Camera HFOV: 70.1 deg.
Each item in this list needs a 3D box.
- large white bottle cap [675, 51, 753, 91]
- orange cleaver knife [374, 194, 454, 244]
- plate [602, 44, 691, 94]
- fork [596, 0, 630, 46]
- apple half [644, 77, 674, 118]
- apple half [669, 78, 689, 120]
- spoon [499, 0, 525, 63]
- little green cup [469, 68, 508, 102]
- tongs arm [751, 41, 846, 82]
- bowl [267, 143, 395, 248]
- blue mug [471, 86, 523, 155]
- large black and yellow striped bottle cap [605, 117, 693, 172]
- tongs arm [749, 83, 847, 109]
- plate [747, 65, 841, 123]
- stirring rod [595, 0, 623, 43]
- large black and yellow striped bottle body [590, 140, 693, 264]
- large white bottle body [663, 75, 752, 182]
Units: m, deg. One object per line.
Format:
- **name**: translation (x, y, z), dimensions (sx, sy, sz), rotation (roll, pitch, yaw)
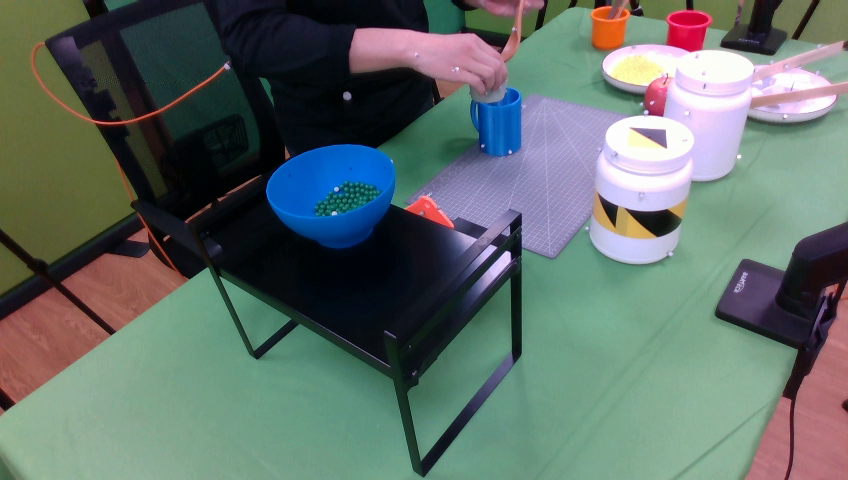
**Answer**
- **large white bottle cap**: translation (0.463, -0.271, 0.967), dimensions (0.115, 0.018, 0.114), rotation (-4, 40, 4)
- **orange cleaver knife**: translation (-0.032, -0.026, 0.965), dimensions (0.210, 0.077, 0.012), rotation (-10, 29, 51)
- **plate**: translation (0.495, -0.367, 1.317), dimensions (0.209, 0.038, 0.208), rotation (-4, 40, 4)
- **fork**: translation (0.481, -0.556, 1.452), dimensions (0.028, 0.019, 0.207), rotation (40, 103, 40)
- **apple half**: translation (0.463, -0.279, 1.194), dimensions (0.053, 0.075, 0.081), rotation (8, 46, 25)
- **apple half**: translation (0.498, -0.273, 1.180), dimensions (0.032, 0.082, 0.081), rotation (7, 42, 25)
- **spoon**: translation (0.160, -0.381, 0.982), dimensions (0.022, 0.193, 0.041), rotation (13, 9, -20)
- **little green cup**: translation (0.101, -0.244, 0.952), dimensions (0.061, 0.039, 0.061), rotation (0, 30, 0)
- **tongs arm**: translation (0.708, -0.331, 1.194), dimensions (0.386, 0.026, 0.050), rotation (-19, 45, -16)
- **bowl**: translation (-0.104, -0.043, 0.726), dimensions (0.151, 0.077, 0.150), rotation (-4, 41, 4)
- **blue mug**: translation (0.135, -0.235, 1.163), dimensions (0.082, 0.106, 0.115), rotation (-36, 48, -28)
- **large black and yellow striped bottle cap**: translation (0.309, -0.134, 0.833), dimensions (0.115, 0.019, 0.114), rotation (-5, 40, 5)
- **tongs arm**: translation (0.734, -0.280, 1.134), dimensions (0.388, 0.028, 0.028), rotation (-9, 47, -5)
- **plate**: translation (0.695, -0.283, 1.189), dimensions (0.207, 0.039, 0.206), rotation (-4, 40, 4)
- **stirring rod**: translation (0.460, -0.556, 1.459), dimensions (0.014, 0.006, 0.176), rotation (30, 93, 23)
- **large black and yellow striped bottle body**: translation (0.317, -0.071, 0.889), dimensions (0.131, 0.185, 0.130), rotation (-4, 41, 4)
- **large white bottle body**: translation (0.472, -0.207, 1.022), dimensions (0.130, 0.185, 0.130), rotation (-4, 41, 4)
